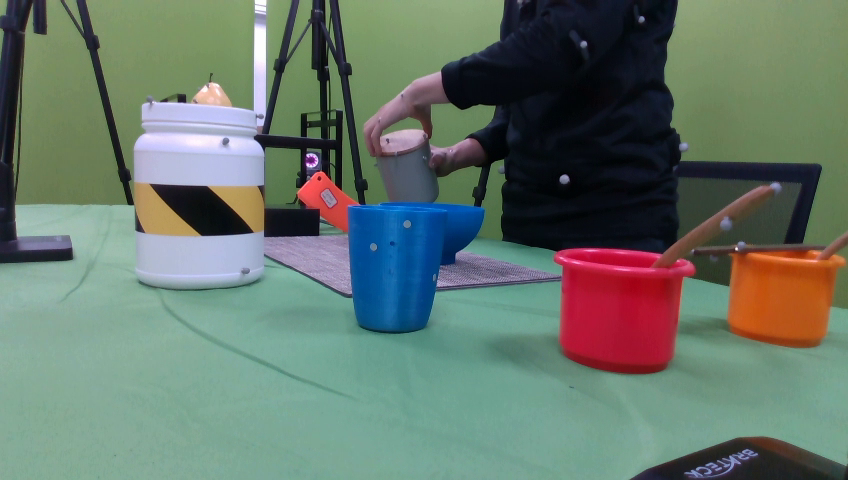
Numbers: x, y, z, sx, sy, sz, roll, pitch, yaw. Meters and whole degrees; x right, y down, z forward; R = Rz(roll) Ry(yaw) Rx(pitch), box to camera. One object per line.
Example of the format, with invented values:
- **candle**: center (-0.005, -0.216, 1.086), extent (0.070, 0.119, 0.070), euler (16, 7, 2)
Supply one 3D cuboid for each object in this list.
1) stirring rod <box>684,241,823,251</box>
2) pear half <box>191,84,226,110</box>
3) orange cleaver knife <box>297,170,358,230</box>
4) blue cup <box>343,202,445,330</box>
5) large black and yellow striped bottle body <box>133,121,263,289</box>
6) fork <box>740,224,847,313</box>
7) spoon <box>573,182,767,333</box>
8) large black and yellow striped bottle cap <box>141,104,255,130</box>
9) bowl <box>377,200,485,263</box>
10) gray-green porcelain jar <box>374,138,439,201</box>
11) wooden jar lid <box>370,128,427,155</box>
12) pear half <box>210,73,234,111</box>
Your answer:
- **stirring rod**: center (0.289, 0.005, 0.525), extent (0.177, 0.006, 0.014), euler (-1, 5, -26)
- **pear half**: center (-0.406, -0.248, 1.128), extent (0.070, 0.088, 0.031), euler (6, 7, 2)
- **orange cleaver knife**: center (-0.149, -0.058, 1.170), extent (0.212, 0.077, 0.012), euler (33, -15, -32)
- **blue cup**: center (-0.027, 0.021, 0.510), extent (0.093, 0.100, 0.092), euler (3, 5, 0)
- **large black and yellow striped bottle body**: center (-0.243, -0.048, 0.659), extent (0.131, 0.184, 0.130), euler (2, 7, 0)
- **fork**: center (0.323, 0.013, 0.485), extent (0.028, 0.018, 0.207), euler (9, -37, -6)
- **spoon**: center (0.158, 0.020, 0.412), extent (0.042, 0.021, 0.193), euler (-2, -35, -21)
- **large black and yellow striped bottle cap**: center (-0.241, -0.131, 0.650), extent (0.115, 0.019, 0.115), euler (3, 8, 0)
- **bowl**: center (0.008, -0.012, 0.842), extent (0.151, 0.077, 0.151), euler (3, 7, 0)
- **gray-green porcelain jar**: center (-0.031, -0.128, 1.164), extent (0.106, 0.126, 0.105), euler (-10, 31, 7)
- **wooden jar lid**: center (-0.046, -0.180, 1.132), extent (0.108, 0.021, 0.108), euler (-8, 31, 5)
- **pear half**: center (-0.402, -0.262, 1.162), extent (0.076, 0.109, 0.056), euler (6, 7, 2)
